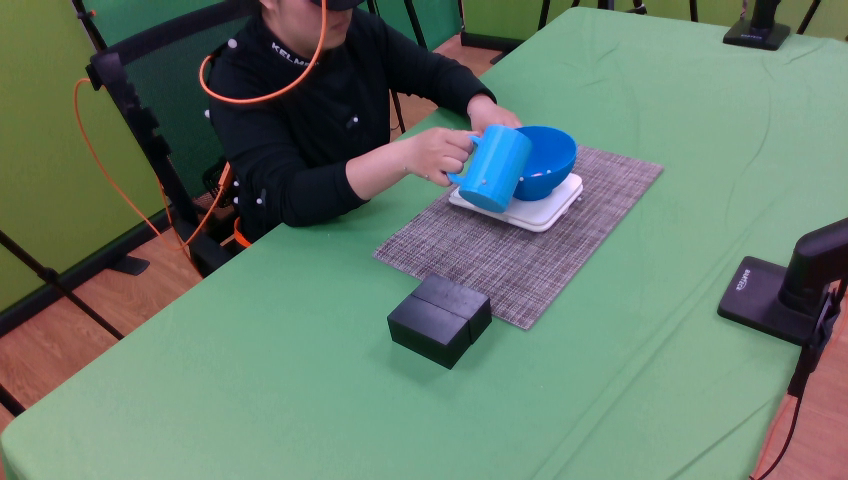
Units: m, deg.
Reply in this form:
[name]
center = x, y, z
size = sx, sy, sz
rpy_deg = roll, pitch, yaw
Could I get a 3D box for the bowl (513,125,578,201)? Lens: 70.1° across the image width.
[bowl]
center = 0.176, -0.117, 0.991
size = 0.151, 0.077, 0.150
rpy_deg = -6, 41, 5

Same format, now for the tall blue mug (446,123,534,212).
[tall blue mug]
center = 0.092, -0.111, 0.885
size = 0.107, 0.077, 0.108
rpy_deg = 25, 81, -7

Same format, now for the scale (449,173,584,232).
[scale]
center = 0.156, -0.085, 1.040
size = 0.199, 0.032, 0.149
rpy_deg = 22, 49, 33
